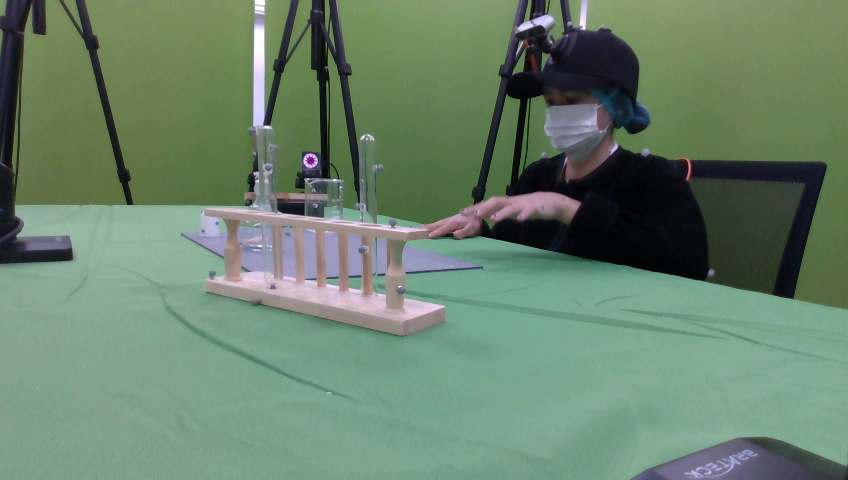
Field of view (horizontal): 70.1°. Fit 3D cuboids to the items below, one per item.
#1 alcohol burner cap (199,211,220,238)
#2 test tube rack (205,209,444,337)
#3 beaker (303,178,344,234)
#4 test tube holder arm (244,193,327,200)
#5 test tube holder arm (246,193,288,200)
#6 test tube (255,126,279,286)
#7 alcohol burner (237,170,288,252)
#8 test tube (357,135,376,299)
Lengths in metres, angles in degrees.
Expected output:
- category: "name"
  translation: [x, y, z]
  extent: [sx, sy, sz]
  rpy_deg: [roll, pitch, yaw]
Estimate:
- category: "alcohol burner cap"
  translation: [-0.356, -0.027, 1.002]
  extent: [0.034, 0.048, 0.034]
  rpy_deg: [2, 7, 0]
- category: "test tube rack"
  translation: [-0.100, 0.021, 0.565]
  extent: [0.241, 0.085, 0.067]
  rpy_deg: [7, 8, 32]
- category: "beaker"
  translation: [-0.189, -0.063, 1.119]
  extent: [0.073, 0.100, 0.084]
  rpy_deg: [6, 9, 28]
- category: "test tube holder arm"
  translation: [-0.284, -0.090, 1.258]
  extent: [0.179, 0.015, 0.013]
  rpy_deg: [-3, 0, -37]
- category: "test tube holder arm"
  translation: [-0.317, -0.089, 1.226]
  extent: [0.088, 0.015, 0.010]
  rpy_deg: [-3, 0, -37]
- category: "test tube"
  translation: [-0.147, -0.031, 0.567]
  extent: [0.017, 0.150, 0.017]
  rpy_deg: [-1, 8, 0]
- category: "alcohol burner"
  translation: [-0.236, -0.042, 0.882]
  extent: [0.078, 0.119, 0.078]
  rpy_deg: [2, 9, 0]
- category: "test tube"
  translation: [-0.053, -0.020, 0.552]
  extent: [0.017, 0.150, 0.017]
  rpy_deg: [0, 8, 0]
